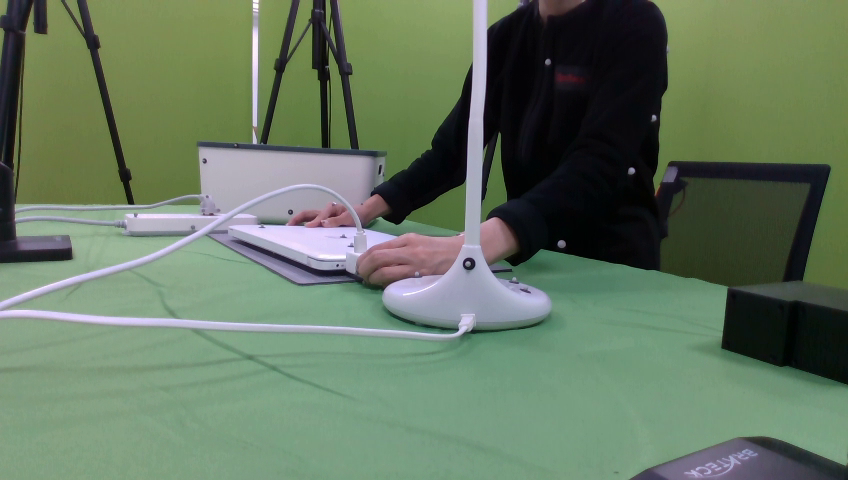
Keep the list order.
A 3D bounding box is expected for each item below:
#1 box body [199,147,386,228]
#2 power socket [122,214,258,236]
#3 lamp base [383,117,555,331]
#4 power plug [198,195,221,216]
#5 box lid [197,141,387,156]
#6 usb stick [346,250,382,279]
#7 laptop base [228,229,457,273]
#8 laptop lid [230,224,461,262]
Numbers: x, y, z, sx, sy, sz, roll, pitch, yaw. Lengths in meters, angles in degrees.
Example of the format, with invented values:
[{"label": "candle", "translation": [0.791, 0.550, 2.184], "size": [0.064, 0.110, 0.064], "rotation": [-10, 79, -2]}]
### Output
[{"label": "box body", "translation": [-0.276, -0.123, 1.334], "size": [0.364, 0.160, 0.254], "rotation": [3, 7, 1]}, {"label": "power socket", "translation": [-0.399, -0.028, 1.049], "size": [0.228, 0.032, 0.072], "rotation": [-3, 8, -34]}, {"label": "lamp base", "translation": [0.045, -0.019, 0.547], "size": [0.161, 0.180, 0.179], "rotation": [2, 10, -4]}, {"label": "power plug", "translation": [-0.387, -0.055, 1.089], "size": [0.035, 0.052, 0.072], "rotation": [-1, 6, -22]}, {"label": "box lid", "translation": [-0.275, -0.198, 1.325], "size": [0.372, 0.015, 0.263], "rotation": [3, 8, 1]}, {"label": "usb stick", "translation": [-0.072, 0.027, 0.687], "size": [0.021, 0.027, 0.059], "rotation": [-11, 10, -35]}, {"label": "laptop base", "translation": [-0.122, 0.012, 0.889], "size": [0.237, 0.023, 0.352], "rotation": [1, 6, -35]}, {"label": "laptop lid", "translation": [-0.119, 0.000, 0.889], "size": [0.243, 0.013, 0.355], "rotation": [1, 7, -33]}]
